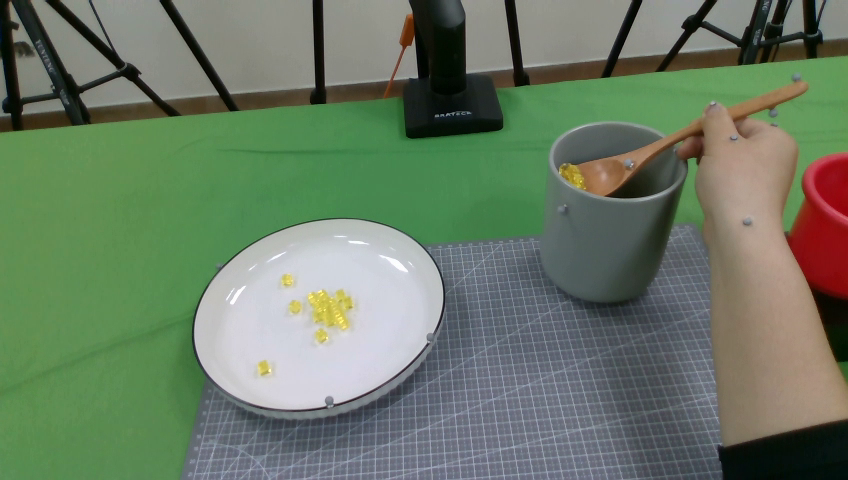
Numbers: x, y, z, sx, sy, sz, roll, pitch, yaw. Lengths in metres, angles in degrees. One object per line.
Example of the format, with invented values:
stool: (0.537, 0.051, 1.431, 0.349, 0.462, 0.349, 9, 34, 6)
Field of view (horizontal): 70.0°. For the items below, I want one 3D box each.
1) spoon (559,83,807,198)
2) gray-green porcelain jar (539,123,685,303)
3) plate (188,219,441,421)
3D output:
spoon: (0.194, -0.075, 0.464, 0.193, 0.022, 0.041, -25, 46, 15)
gray-green porcelain jar: (0.152, -0.017, 0.513, 0.106, 0.128, 0.105, -3, 44, 3)
plate: (-0.088, 0.064, 0.513, 0.207, 0.039, 0.205, -2, 44, 2)
